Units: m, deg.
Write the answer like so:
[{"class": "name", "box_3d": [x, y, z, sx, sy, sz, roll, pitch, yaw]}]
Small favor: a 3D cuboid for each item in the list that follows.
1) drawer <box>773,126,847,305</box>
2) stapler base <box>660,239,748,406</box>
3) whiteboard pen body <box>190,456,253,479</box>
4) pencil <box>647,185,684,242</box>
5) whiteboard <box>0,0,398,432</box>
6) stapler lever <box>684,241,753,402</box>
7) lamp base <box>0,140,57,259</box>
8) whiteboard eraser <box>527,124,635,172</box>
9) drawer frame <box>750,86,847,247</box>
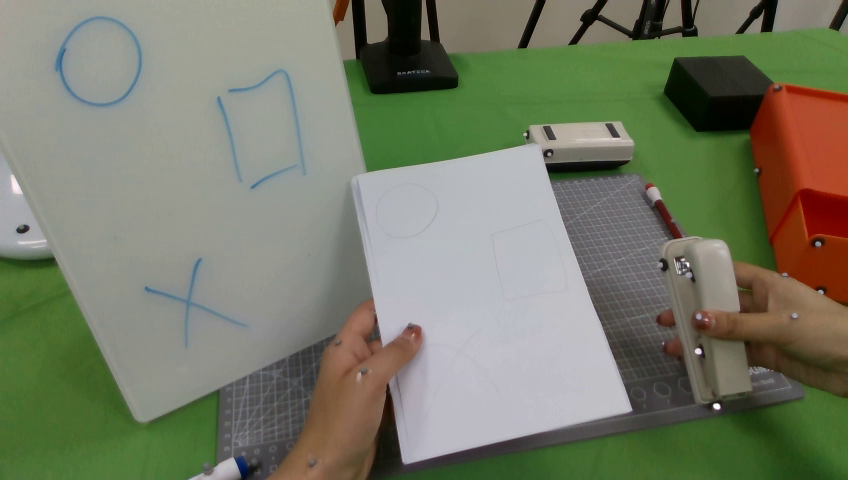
[{"class": "drawer", "box_3d": [0.449, -0.022, 0.589, 0.194, 0.074, 0.210, 12, 43, 11]}, {"class": "stapler base", "box_3d": [0.219, 0.062, 0.470, 0.041, 0.024, 0.130, -11, 80, 6]}, {"class": "whiteboard pen body", "box_3d": [-0.178, 0.175, 0.383, 0.141, 0.017, 0.017, -21, 48, -25]}, {"class": "pencil", "box_3d": [0.255, 0.011, 0.591, 0.012, 0.012, 0.192, -3, 46, -6]}, {"class": "whiteboard", "box_3d": [-0.170, -0.055, 0.466, 0.217, 0.308, 0.142, -23, 29, -24]}, {"class": "stapler lever", "box_3d": [0.217, 0.058, 0.445, 0.027, 0.040, 0.117, -11, 80, 6]}, {"class": "lamp base", "box_3d": [-0.367, -0.099, 0.551, 0.178, 0.182, 0.160, 21, 46, 22]}, {"class": "whiteboard eraser", "box_3d": [0.178, -0.104, 0.691, 0.113, 0.042, 0.055, -2, 44, -6]}, {"class": "drawer frame", "box_3d": [0.466, -0.065, 0.633, 0.201, 0.083, 0.212, 11, 43, 10]}]
